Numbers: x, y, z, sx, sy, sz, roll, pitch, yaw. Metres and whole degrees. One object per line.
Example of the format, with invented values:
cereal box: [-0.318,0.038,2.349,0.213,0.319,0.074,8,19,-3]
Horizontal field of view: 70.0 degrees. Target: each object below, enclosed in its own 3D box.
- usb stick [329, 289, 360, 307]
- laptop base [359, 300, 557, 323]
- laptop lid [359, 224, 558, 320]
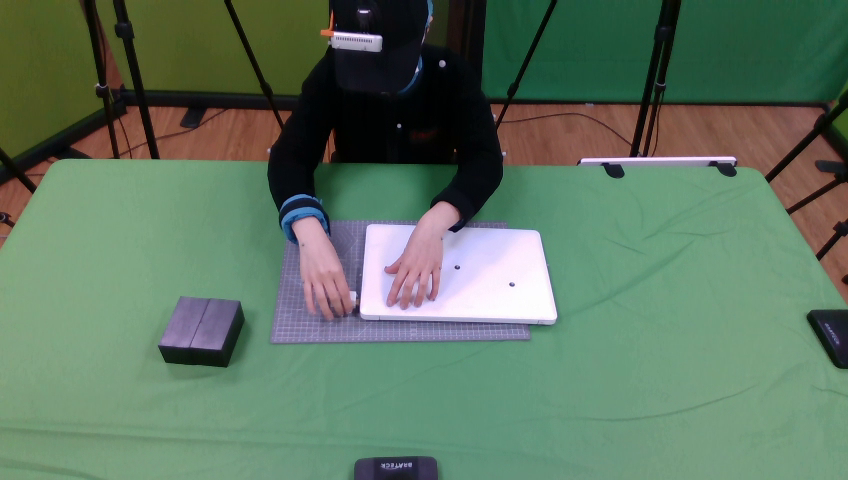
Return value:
usb stick: [-0.137,0.103,1.070,0.059,0.027,0.021,10,58,-9]
laptop base: [0.061,0.063,1.145,0.354,0.023,0.234,2,43,-3]
laptop lid: [0.062,0.053,1.138,0.357,0.013,0.240,3,44,-2]
